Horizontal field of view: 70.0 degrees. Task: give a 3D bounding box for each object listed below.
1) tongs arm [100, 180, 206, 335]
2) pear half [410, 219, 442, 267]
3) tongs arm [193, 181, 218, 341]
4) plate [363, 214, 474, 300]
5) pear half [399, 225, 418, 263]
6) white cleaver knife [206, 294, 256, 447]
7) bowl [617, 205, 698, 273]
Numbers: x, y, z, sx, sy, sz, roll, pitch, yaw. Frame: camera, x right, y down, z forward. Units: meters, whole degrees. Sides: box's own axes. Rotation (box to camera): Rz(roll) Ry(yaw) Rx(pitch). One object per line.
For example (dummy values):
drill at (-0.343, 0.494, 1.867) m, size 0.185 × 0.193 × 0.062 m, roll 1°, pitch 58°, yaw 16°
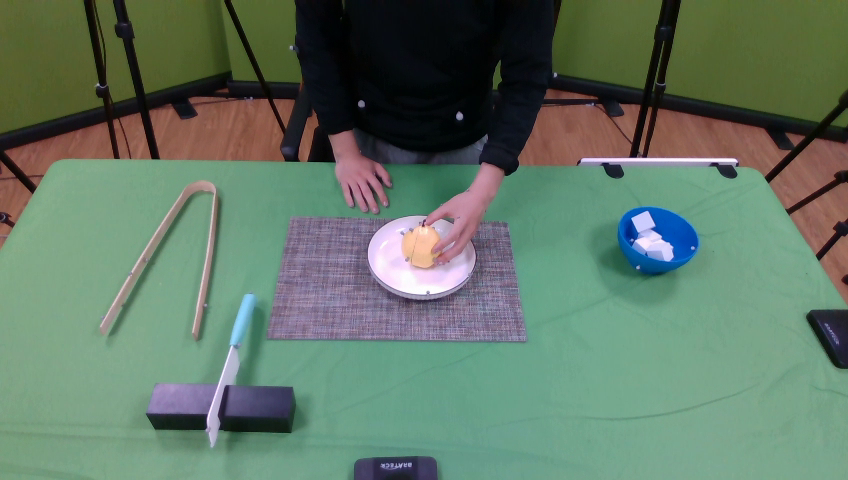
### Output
tongs arm at (-0.494, 0.018, 1.132) m, size 0.051 × 0.026 × 0.382 m, roll 6°, pitch 45°, yaw 0°
pear half at (0.006, 0.002, 1.114) m, size 0.056 × 0.110 × 0.076 m, roll 6°, pitch 52°, yaw 1°
tongs arm at (-0.413, 0.024, 1.140) m, size 0.028 × 0.028 × 0.385 m, roll -5°, pitch 47°, yaw -7°
plate at (-0.010, 0.036, 1.146) m, size 0.208 × 0.039 × 0.206 m, roll 2°, pitch 46°, yaw -2°
pear half at (-0.030, 0.003, 1.123) m, size 0.031 × 0.088 × 0.070 m, roll 7°, pitch 51°, yaw 0°
white cleaver knife at (-0.305, 0.191, 0.956) m, size 0.021 × 0.066 × 0.284 m, roll 6°, pitch 36°, yaw -4°
bowl at (0.442, 0.011, 1.181) m, size 0.151 × 0.077 × 0.150 m, roll 2°, pitch 46°, yaw -2°
